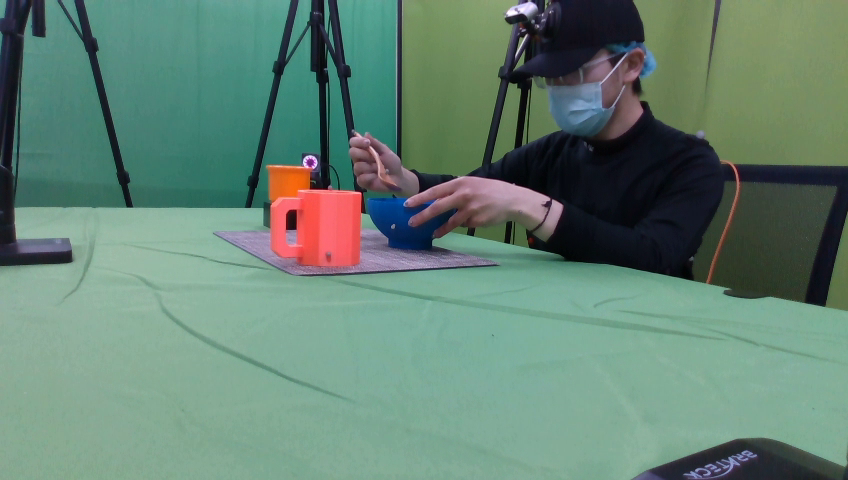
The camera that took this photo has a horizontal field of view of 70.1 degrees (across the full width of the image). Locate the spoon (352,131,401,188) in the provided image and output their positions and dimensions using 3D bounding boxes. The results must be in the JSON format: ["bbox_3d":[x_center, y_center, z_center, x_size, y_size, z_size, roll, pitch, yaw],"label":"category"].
[{"bbox_3d":[-0.087,-0.145,1.068,0.042,0.021,0.193,25,24,-43],"label":"spoon"}]

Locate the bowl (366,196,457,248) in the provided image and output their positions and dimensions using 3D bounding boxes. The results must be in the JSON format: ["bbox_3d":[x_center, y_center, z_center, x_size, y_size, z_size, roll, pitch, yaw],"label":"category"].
[{"bbox_3d":[-0.022,-0.030,1.001,0.151,0.077,0.151,2,7,0],"label":"bowl"}]

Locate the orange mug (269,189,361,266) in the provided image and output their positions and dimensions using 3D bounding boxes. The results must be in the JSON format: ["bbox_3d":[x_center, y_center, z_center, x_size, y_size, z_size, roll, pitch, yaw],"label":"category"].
[{"bbox_3d":[-0.142,-0.019,0.796,0.127,0.100,0.083,2,5,-39],"label":"orange mug"}]
